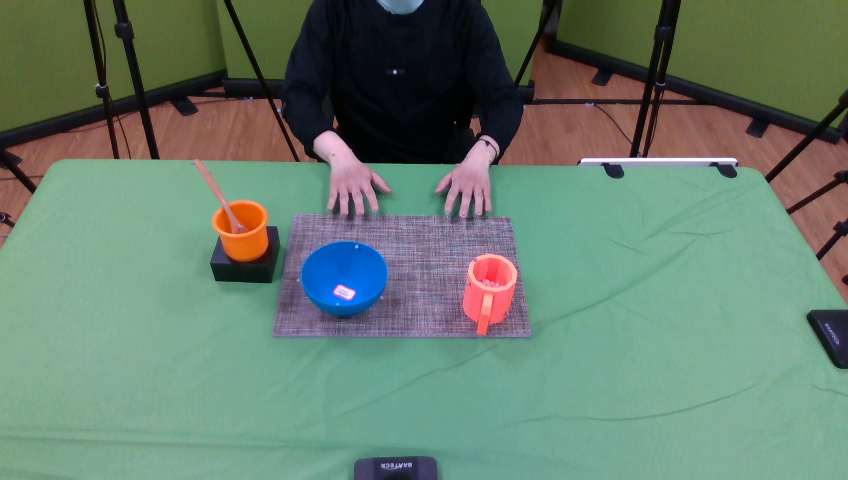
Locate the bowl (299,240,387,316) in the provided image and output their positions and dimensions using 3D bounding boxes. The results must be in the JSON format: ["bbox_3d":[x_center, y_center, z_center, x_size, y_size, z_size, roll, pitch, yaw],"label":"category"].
[{"bbox_3d":[-0.139,0.081,1.064,0.151,0.077,0.150,2,46,-1],"label":"bowl"}]

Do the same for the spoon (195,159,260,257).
[{"bbox_3d":[-0.348,-0.057,1.069,0.041,0.194,0.021,-31,12,-26],"label":"spoon"}]

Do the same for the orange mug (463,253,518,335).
[{"bbox_3d":[0.112,0.098,1.050,0.083,0.101,0.125,10,42,6],"label":"orange mug"}]
